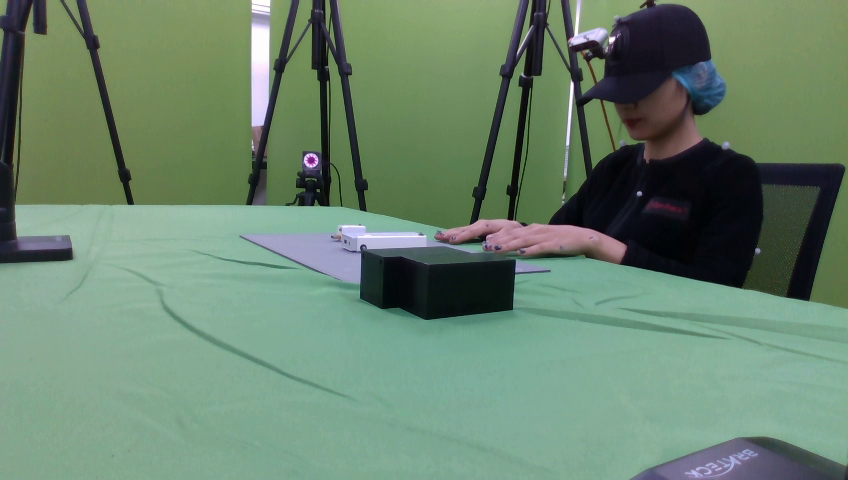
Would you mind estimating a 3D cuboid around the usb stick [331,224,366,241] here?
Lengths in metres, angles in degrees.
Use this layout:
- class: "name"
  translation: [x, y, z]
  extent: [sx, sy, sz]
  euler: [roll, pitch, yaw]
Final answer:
- class: "usb stick"
  translation: [-0.128, -0.013, 1.018]
  extent: [0.059, 0.027, 0.021]
  euler: [-5, 11, -31]

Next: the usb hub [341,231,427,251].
- class: "usb hub"
  translation: [-0.061, 0.001, 0.935]
  extent: [0.126, 0.025, 0.049]
  euler: [-2, 9, -26]
